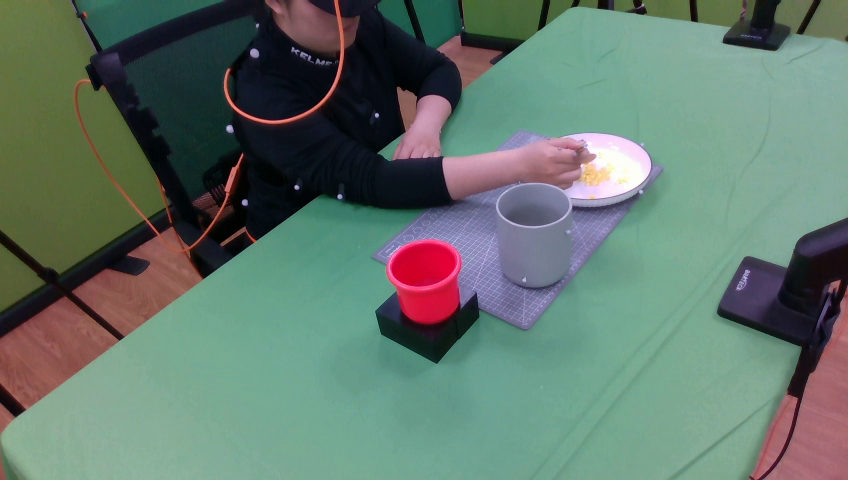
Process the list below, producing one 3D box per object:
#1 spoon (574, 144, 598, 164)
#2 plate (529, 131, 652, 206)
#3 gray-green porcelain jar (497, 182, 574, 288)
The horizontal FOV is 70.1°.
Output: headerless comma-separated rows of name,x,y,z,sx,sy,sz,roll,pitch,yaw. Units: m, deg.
spoon,0.256,-0.142,0.977,0.041,0.021,0.195,-9,-3,19
plate,0.287,-0.121,1.056,0.207,0.039,0.206,-5,40,5
gray-green porcelain jar,0.161,-0.003,0.869,0.106,0.127,0.105,-5,40,5
